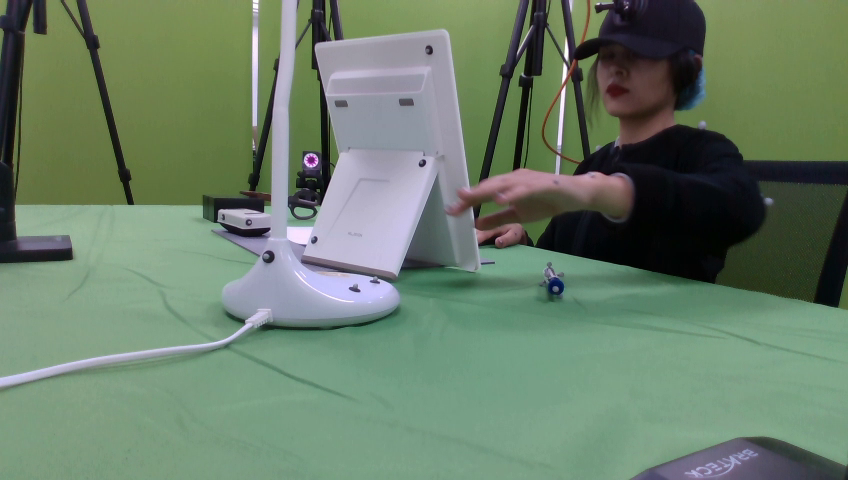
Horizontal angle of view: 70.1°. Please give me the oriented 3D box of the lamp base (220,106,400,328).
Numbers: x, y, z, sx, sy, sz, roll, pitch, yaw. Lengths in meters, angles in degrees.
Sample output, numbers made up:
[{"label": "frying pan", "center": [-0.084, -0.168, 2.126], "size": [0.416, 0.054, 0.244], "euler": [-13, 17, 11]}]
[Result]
[{"label": "lamp base", "center": [-0.101, -0.023, 0.531], "size": [0.160, 0.180, 0.179], "euler": [4, 10, 10]}]

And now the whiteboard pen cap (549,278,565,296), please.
[{"label": "whiteboard pen cap", "center": [0.140, 0.050, 0.639], "size": [0.018, 0.018, 0.033], "euler": [4, 2, 9]}]

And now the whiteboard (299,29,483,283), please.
[{"label": "whiteboard", "center": [-0.074, -0.082, 0.742], "size": [0.216, 0.305, 0.144], "euler": [9, 29, 38]}]

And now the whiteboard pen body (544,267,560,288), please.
[{"label": "whiteboard pen body", "center": [0.149, 0.046, 0.697], "size": [0.017, 0.017, 0.141], "euler": [4, 4, 9]}]

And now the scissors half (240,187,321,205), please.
[{"label": "scissors half", "center": [-0.311, -0.097, 1.319], "size": [0.176, 0.040, 0.012], "euler": [-1, 30, -24]}]

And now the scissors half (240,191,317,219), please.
[{"label": "scissors half", "center": [-0.318, -0.079, 1.326], "size": [0.176, 0.040, 0.013], "euler": [18, 16, -31]}]

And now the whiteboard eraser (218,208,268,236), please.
[{"label": "whiteboard eraser", "center": [-0.309, -0.031, 1.044], "size": [0.056, 0.042, 0.112], "euler": [-2, 9, -40]}]
